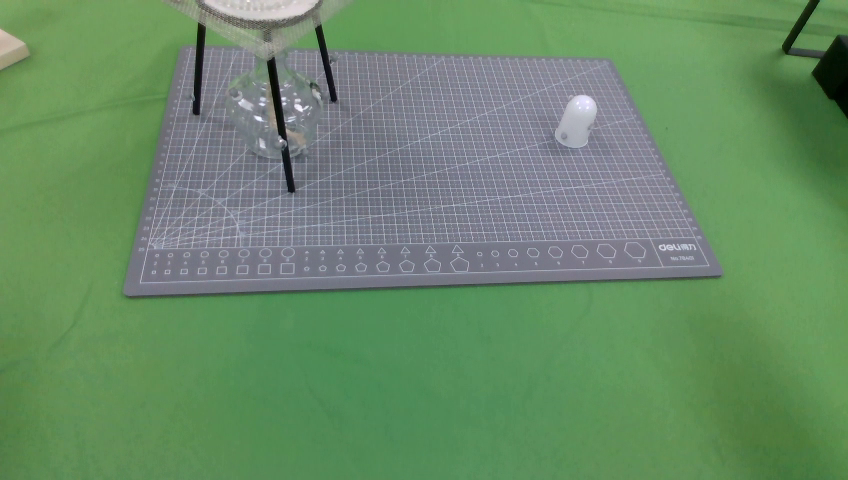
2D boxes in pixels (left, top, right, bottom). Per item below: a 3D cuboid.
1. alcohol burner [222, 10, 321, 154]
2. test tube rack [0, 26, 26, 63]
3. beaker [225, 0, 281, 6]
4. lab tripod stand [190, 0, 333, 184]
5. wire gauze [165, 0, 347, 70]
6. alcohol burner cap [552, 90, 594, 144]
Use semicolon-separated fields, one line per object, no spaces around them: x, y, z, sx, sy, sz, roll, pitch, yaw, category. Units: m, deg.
-0.121;-0.128;0.482;0.078;0.120;0.077;5;49;-6;alcohol burner
-0.453;-0.143;0.466;0.066;0.086;0.241;29;53;15;test tube rack
-0.117;-0.211;0.389;0.073;0.101;0.083;31;54;15;beaker
-0.124;-0.139;0.478;0.149;0.132;0.147;6;51;-6;lab tripod stand
-0.118;-0.180;0.427;0.124;0.011;0.121;32;56;12;wire gauze
0.139;-0.116;0.559;0.034;0.048;0.033;3;50;-4;alcohol burner cap
